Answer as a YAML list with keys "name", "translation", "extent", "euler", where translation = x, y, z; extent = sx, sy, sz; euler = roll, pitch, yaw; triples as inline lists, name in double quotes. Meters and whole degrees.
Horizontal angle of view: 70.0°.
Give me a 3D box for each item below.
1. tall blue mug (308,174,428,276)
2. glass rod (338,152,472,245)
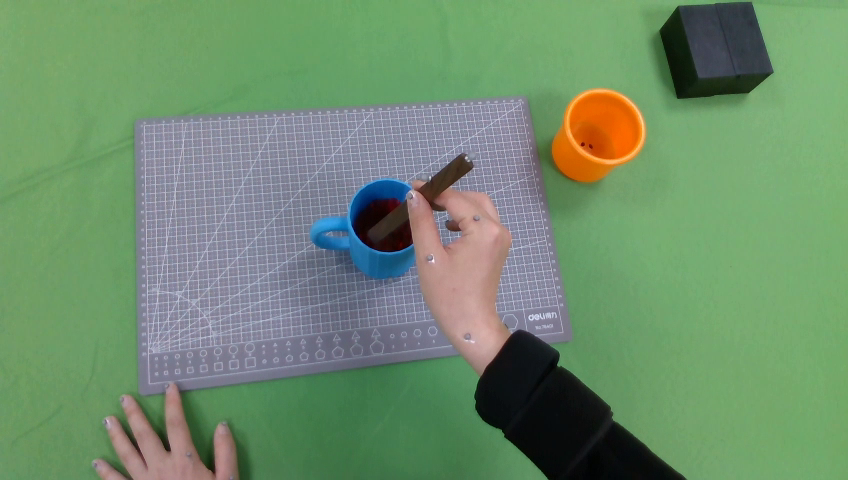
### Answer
- name: "tall blue mug"
  translation: [-0.054, -0.005, 0.611]
  extent: [0.107, 0.108, 0.077]
  euler: [-29, 80, -14]
- name: "glass rod"
  translation: [-0.023, -0.028, 0.491]
  extent: [0.008, 0.199, 0.008]
  euler: [13, 65, -31]
